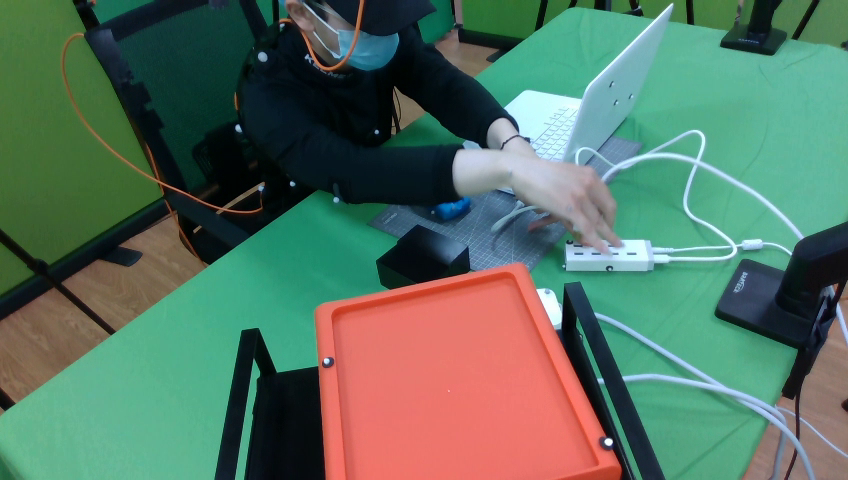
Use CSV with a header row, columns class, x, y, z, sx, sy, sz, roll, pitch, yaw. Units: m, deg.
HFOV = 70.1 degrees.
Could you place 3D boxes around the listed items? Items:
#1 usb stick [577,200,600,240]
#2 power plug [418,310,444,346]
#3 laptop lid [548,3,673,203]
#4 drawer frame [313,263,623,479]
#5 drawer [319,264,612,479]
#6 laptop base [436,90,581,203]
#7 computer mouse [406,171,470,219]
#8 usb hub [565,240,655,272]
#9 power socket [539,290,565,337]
class,x,y,z,sx,sy,sz,roll,pitch,yaw
usb stick,0.227,-0.025,0.842,0.021,0.059,0.027,7,23,1
power plug,0.007,0.123,0.785,0.035,0.053,0.072,0,39,7
laptop lid,0.320,-0.235,1.026,0.013,0.242,0.357,31,50,20
drawer frame,0.021,0.130,0.493,0.202,0.083,0.212,-11,41,-6
drawer,0.020,0.129,0.497,0.195,0.073,0.210,-11,41,-5
laptop base,0.214,-0.192,1.172,0.233,0.023,0.355,19,46,32
computer mouse,0.024,-0.082,1.049,0.063,0.041,0.116,-29,50,-28
usb hub,0.276,0.023,0.905,0.125,0.025,0.049,0,41,8
power socket,0.081,0.112,0.822,0.227,0.033,0.072,-6,41,0
